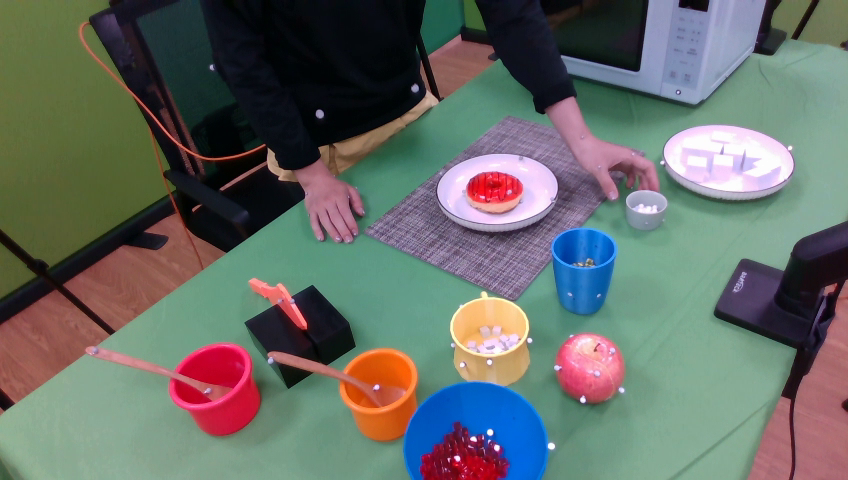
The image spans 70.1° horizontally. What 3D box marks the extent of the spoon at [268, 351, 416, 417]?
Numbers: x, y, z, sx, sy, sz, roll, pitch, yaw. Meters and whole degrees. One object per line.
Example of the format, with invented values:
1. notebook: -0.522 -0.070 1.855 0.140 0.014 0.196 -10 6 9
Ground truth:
1. spoon: -0.091 0.163 0.699 0.021 0.195 0.041 -44 31 28

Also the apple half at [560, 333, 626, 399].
1. apple half: 0.209 0.147 0.730 0.080 0.075 0.053 26 48 38

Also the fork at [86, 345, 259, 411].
1. fork: -0.298 0.166 0.728 0.209 0.018 0.028 28 45 -23

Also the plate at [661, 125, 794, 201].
1. plate: 0.513 -0.128 1.035 0.207 0.039 0.206 -4 40 4

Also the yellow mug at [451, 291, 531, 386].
1. yellow mug: 0.086 0.120 0.786 0.100 0.064 0.130 -7 39 2

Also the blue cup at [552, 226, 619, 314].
1. blue cup: 0.218 0.047 0.825 0.092 0.101 0.092 -6 39 5

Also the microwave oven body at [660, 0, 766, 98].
1. microwave oven body: 0.473 -0.513 1.317 0.438 0.261 0.327 26 51 34

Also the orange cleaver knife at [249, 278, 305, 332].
1. orange cleaver knife: -0.210 0.089 0.855 0.012 0.077 0.210 -28 15 -25

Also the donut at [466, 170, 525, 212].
1. donut: 0.120 -0.083 1.019 0.099 0.048 0.098 -4 39 4

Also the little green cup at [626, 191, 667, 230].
1. little green cup: 0.352 -0.046 0.963 0.061 0.039 0.061 -4 41 4

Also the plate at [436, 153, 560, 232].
1. plate: 0.125 -0.078 1.029 0.209 0.038 0.208 -4 40 4

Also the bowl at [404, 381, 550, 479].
1. bowl: 0.058 0.235 0.645 0.151 0.077 0.150 -4 39 4

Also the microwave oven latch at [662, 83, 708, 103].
1. microwave oven latch: 0.518 -0.297 1.204 0.078 0.029 0.030 29 53 36

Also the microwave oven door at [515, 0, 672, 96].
1. microwave oven door: 0.344 -0.455 1.259 0.353 0.245 0.039 26 51 33

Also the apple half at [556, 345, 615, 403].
1. apple half: 0.181 0.166 0.709 0.080 0.081 0.033 29 50 35
